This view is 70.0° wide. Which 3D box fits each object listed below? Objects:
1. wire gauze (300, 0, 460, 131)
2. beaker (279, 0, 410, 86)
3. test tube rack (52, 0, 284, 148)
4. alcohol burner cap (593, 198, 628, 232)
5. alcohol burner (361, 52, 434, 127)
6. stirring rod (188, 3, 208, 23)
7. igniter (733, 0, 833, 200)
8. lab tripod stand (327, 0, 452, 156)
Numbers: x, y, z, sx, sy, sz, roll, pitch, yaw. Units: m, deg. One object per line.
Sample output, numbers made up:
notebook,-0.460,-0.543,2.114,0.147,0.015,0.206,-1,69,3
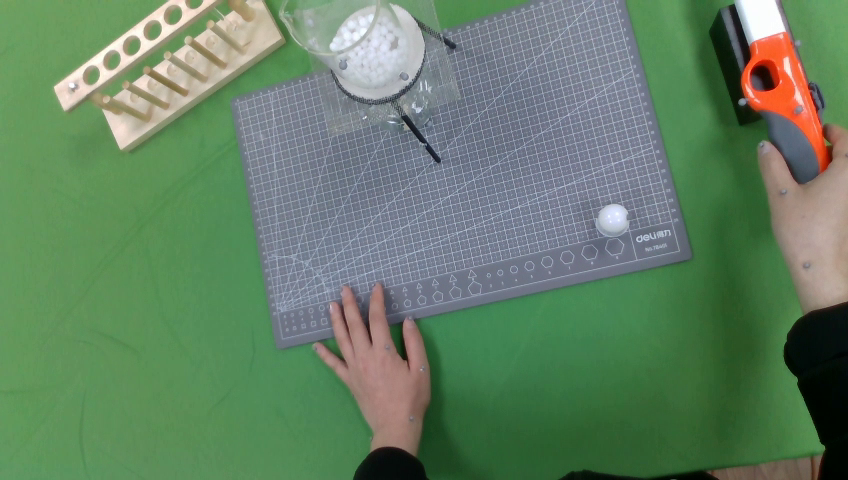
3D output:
wire gauze,-0.042,-0.168,0.535,0.125,0.011,0.121,-14,87,10
beaker,-0.059,-0.171,0.489,0.084,0.100,0.074,0,87,14
test tube rack,-0.290,-0.204,0.692,0.242,0.085,0.066,-31,80,10
alcohol burner cap,0.182,-0.026,0.587,0.034,0.048,0.034,-1,85,13
alcohol burner,-0.031,-0.157,0.609,0.078,0.119,0.077,-1,85,12
stirring rod,-0.266,-0.271,0.610,0.006,0.177,0.014,-29,74,4
igniter,0.300,-0.170,0.530,0.057,0.025,0.275,-15,81,14
lab tripod stand,-0.027,-0.162,0.598,0.148,0.132,0.148,-1,87,12
